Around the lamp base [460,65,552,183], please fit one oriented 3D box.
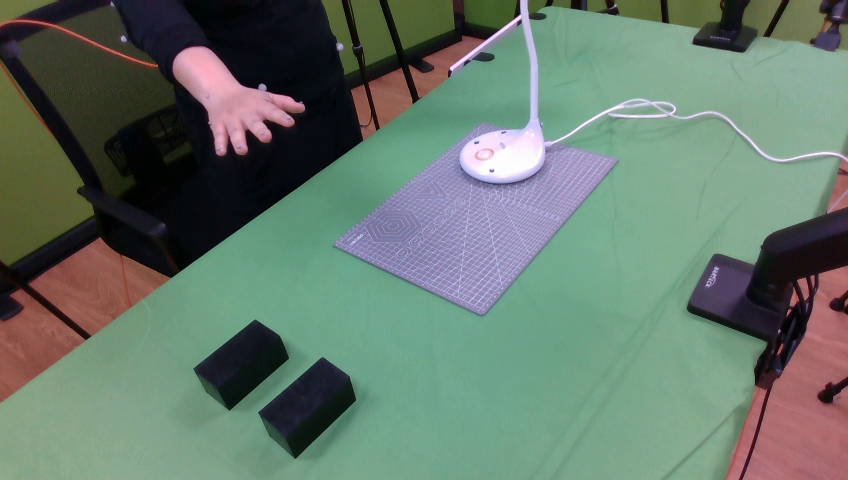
[{"bbox_3d":[0.149,-0.218,1.078,0.180,0.181,0.159,-19,41,-17],"label":"lamp base"}]
